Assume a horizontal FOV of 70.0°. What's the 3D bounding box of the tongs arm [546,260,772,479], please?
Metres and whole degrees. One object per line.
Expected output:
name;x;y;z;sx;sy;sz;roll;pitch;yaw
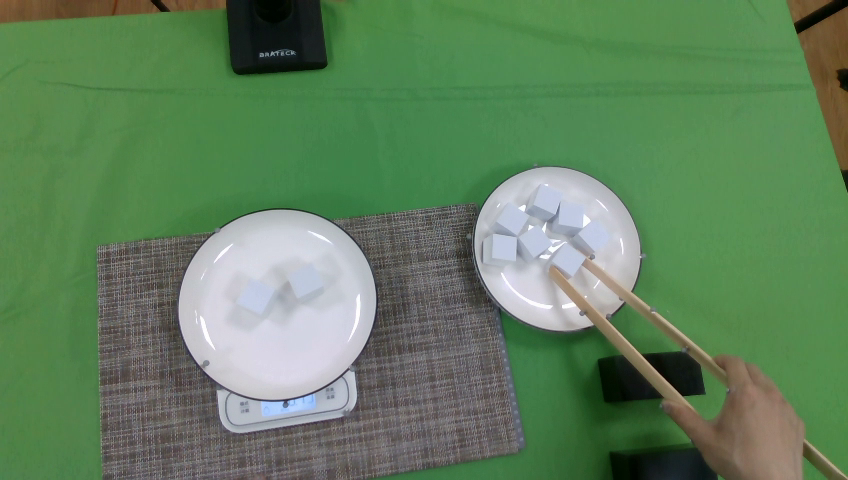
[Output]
tongs arm;0.257;0.149;0.624;0.028;0.028;0.383;-28;54;-20

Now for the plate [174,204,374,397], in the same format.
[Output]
plate;-0.159;0.064;0.658;0.209;0.038;0.208;2;76;-6

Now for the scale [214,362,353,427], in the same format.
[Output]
scale;-0.163;0.101;0.682;0.149;0.031;0.200;-6;77;-8

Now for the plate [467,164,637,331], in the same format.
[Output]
plate;0.153;0.010;0.741;0.208;0.039;0.206;2;75;-6

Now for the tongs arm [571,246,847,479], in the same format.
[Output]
tongs arm;0.279;0.136;0.632;0.051;0.027;0.381;-33;55;-19
